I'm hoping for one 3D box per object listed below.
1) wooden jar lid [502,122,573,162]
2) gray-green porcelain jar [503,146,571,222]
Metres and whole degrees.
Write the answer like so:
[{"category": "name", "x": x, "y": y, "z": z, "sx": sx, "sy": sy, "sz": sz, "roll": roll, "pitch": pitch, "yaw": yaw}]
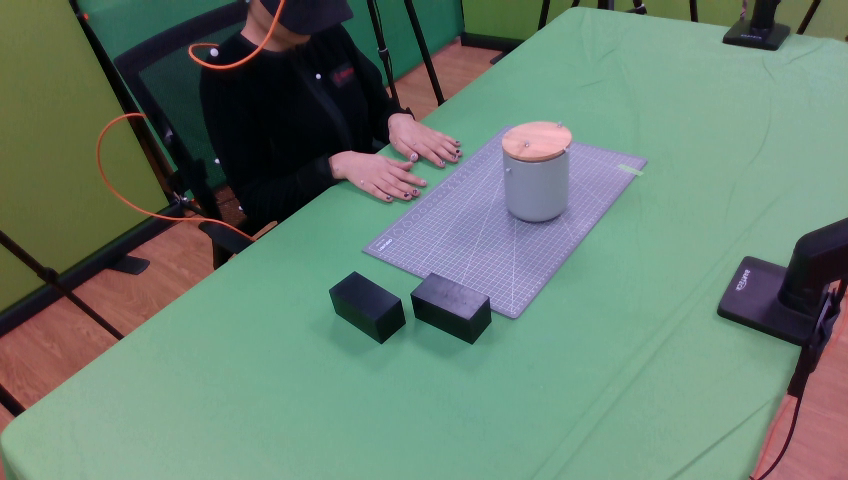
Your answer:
[{"category": "wooden jar lid", "x": 0.176, "y": -0.150, "z": 0.940, "sx": 0.108, "sy": 0.021, "sz": 0.108, "roll": -6, "pitch": 39, "yaw": 5}, {"category": "gray-green porcelain jar", "x": 0.184, "y": -0.102, "z": 0.983, "sx": 0.106, "sy": 0.127, "sz": 0.105, "roll": -5, "pitch": 40, "yaw": 5}]
